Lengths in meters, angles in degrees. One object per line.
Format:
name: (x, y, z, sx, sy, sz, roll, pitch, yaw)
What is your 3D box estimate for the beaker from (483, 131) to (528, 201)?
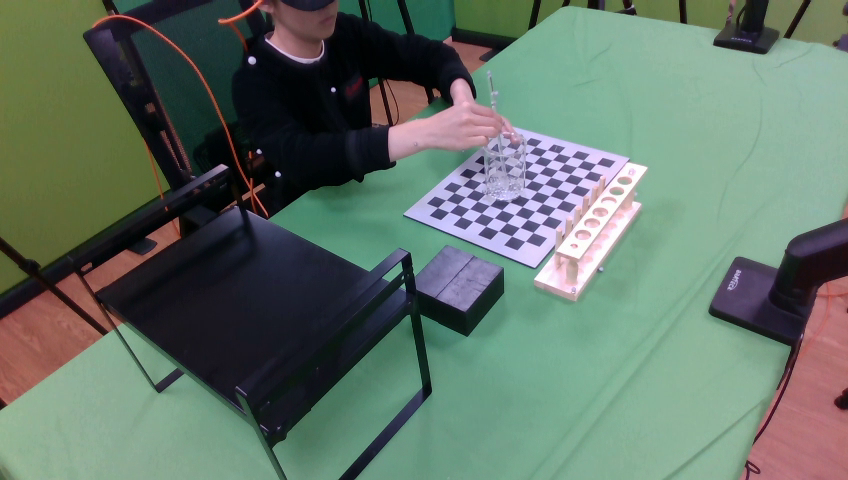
beaker: (0.143, -0.126, 1.036, 0.073, 0.100, 0.084, 24, 49, 31)

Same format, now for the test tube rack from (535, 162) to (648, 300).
test tube rack: (0.257, -0.024, 0.916, 0.066, 0.085, 0.243, 22, 49, 30)

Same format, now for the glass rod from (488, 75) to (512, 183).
glass rod: (0.126, -0.175, 0.986, 0.008, 0.201, 0.008, -11, 37, 9)
